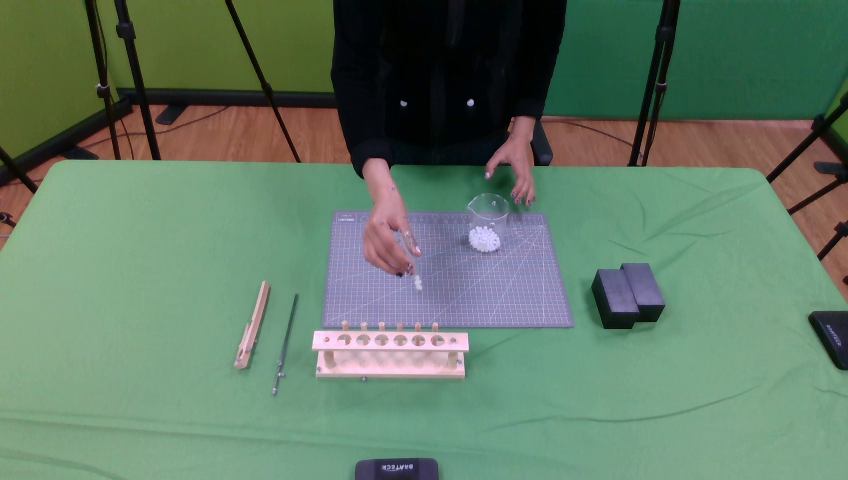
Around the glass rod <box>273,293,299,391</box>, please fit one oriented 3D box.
[{"bbox_3d":[-0.233,0.167,1.030,0.008,0.008,0.198,3,46,0],"label":"glass rod"}]

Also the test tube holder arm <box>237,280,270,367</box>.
[{"bbox_3d":[-0.290,0.140,1.042,0.013,0.015,0.177,-17,41,22],"label":"test tube holder arm"}]

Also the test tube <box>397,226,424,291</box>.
[{"bbox_3d":[-0.019,0.032,0.941,0.017,0.151,0.017,-6,49,7],"label":"test tube"}]

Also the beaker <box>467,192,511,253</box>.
[{"bbox_3d":[0.121,-0.031,1.179,0.084,0.101,0.073,3,46,0],"label":"beaker"}]

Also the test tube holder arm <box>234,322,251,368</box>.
[{"bbox_3d":[-0.299,0.173,1.013,0.010,0.015,0.087,-17,41,23],"label":"test tube holder arm"}]

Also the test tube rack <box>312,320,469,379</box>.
[{"bbox_3d":[-0.053,0.173,0.984,0.242,0.085,0.066,1,46,-3],"label":"test tube rack"}]
